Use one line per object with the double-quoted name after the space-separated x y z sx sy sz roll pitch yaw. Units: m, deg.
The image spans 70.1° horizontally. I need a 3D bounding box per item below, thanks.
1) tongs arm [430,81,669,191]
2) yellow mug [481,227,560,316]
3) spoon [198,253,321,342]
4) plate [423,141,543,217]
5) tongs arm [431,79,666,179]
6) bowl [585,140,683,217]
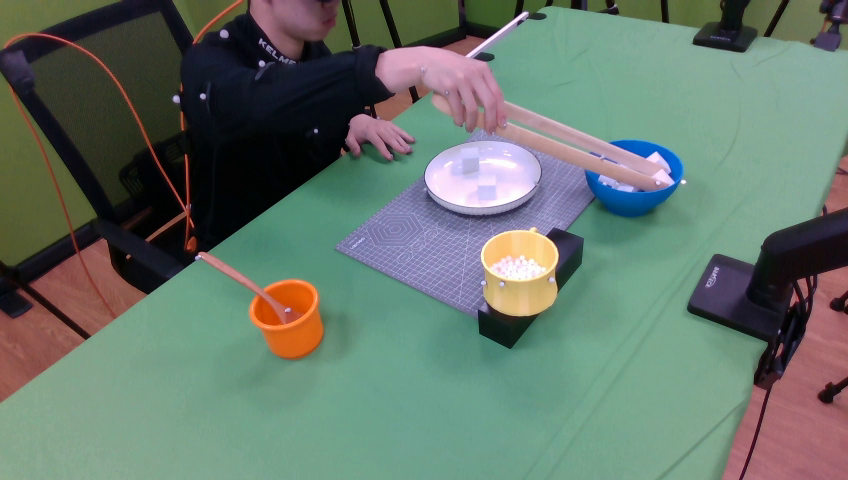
0.191 -0.150 0.909 0.386 0.026 0.050 18 44 -10 "tongs arm"
0.131 0.032 0.801 0.099 0.064 0.131 11 43 20 "yellow mug"
-0.220 0.075 0.814 0.021 0.194 0.041 -37 18 39 "spoon"
0.103 -0.104 1.059 0.207 0.039 0.206 -4 40 4 "plate"
0.195 -0.168 0.929 0.389 0.028 0.028 20 47 -8 "tongs arm"
0.335 -0.090 0.983 0.151 0.077 0.150 -3 40 3 "bowl"
